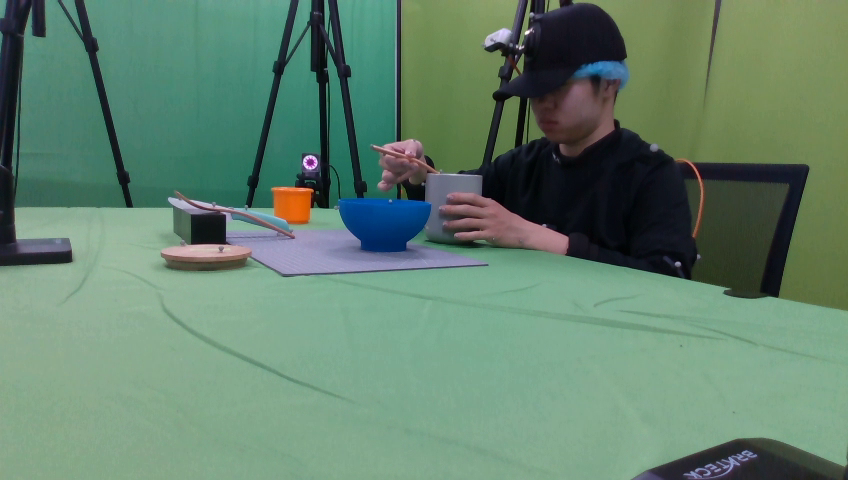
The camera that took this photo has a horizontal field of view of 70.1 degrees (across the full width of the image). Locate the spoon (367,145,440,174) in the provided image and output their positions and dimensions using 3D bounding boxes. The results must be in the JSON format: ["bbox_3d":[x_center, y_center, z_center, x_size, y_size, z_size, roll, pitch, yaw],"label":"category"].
[{"bbox_3d":[-0.011,-0.138,1.100,0.194,0.021,0.041,23,9,-7],"label":"spoon"}]

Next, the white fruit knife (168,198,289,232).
[{"bbox_3d":[-0.329,-0.044,1.036,0.208,0.027,0.016,14,-1,-32],"label":"white fruit knife"}]

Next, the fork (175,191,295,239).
[{"bbox_3d":[-0.305,-0.039,0.993,0.208,0.018,0.028,19,-9,-34],"label":"fork"}]

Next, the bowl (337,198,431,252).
[{"bbox_3d":[-0.066,-0.024,0.967,0.151,0.077,0.151,3,7,0],"label":"bowl"}]

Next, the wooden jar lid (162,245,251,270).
[{"bbox_3d":[-0.278,0.022,0.777,0.108,0.020,0.108,2,6,0],"label":"wooden jar lid"}]

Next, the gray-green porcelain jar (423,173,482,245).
[{"bbox_3d":[0.052,-0.058,1.115,0.106,0.126,0.106,3,8,0],"label":"gray-green porcelain jar"}]
